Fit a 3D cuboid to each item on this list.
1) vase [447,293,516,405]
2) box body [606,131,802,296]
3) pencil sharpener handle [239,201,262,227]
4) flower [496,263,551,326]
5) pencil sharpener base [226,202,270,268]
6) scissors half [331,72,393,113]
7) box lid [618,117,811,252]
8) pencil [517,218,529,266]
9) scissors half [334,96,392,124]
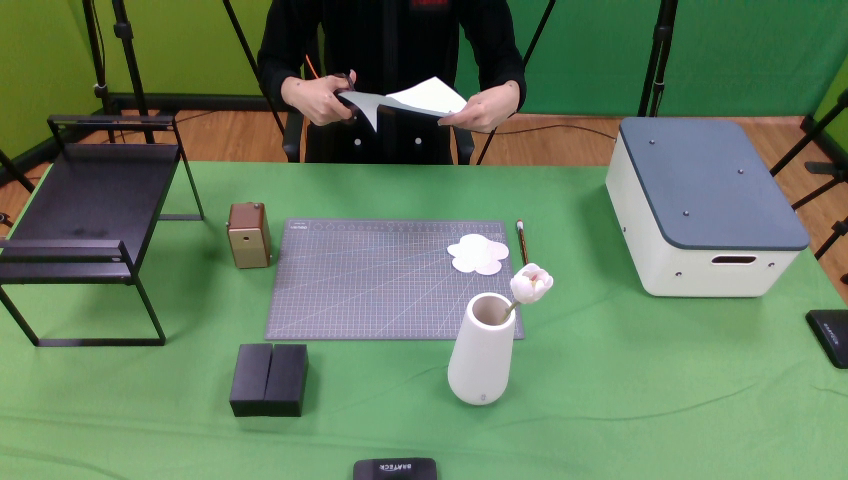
[{"bbox_3d":[0.091,0.169,0.921,0.098,0.201,0.097,3,47,-3],"label":"vase"},{"bbox_3d":[0.530,-0.067,1.204,0.254,0.161,0.361,0,46,-4],"label":"box body"},{"bbox_3d":[-0.325,-0.055,1.149,0.036,0.068,0.030,-13,46,3],"label":"pencil sharpener handle"},{"bbox_3d":[0.102,0.120,0.853,0.044,0.363,0.038,-2,64,-10],"label":"flower"},{"bbox_3d":[-0.323,-0.010,1.123,0.061,0.107,0.076,-3,46,-7],"label":"pencil sharpener base"},{"bbox_3d":[-0.111,-0.259,1.075,0.013,0.040,0.174,-27,48,-35],"label":"scissors half"},{"bbox_3d":[0.534,-0.117,1.149,0.263,0.015,0.369,0,47,-3],"label":"box lid"},{"bbox_3d":[0.200,0.028,1.196,0.012,0.012,0.193,1,48,-3],"label":"pencil"},{"bbox_3d":[-0.110,-0.237,1.084,0.013,0.040,0.174,-22,12,-37],"label":"scissors half"}]
